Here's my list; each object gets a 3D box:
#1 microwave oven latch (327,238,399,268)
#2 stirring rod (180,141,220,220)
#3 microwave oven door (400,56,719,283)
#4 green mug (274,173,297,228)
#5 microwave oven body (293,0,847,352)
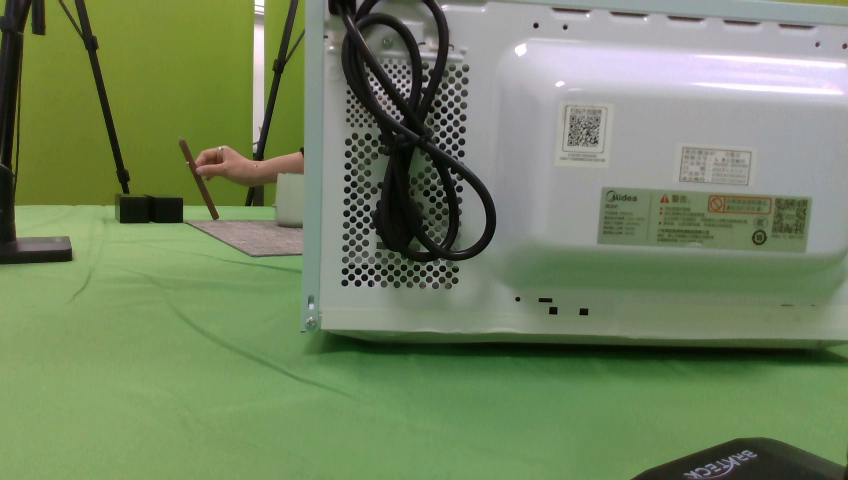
[{"bbox_3d":[-0.069,0.015,0.694,0.079,0.029,0.030,3,7,-3],"label":"microwave oven latch"},{"bbox_3d":[-0.467,-0.123,1.260,0.014,0.176,0.006,-30,20,-32],"label":"stirring rod"},{"bbox_3d":[0.155,-0.078,0.697,0.356,0.243,0.039,2,8,-5],"label":"microwave oven door"},{"bbox_3d":[-0.242,-0.081,1.221,0.092,0.105,0.126,8,9,39],"label":"green mug"},{"bbox_3d":[0.122,-0.055,0.550,0.442,0.260,0.325,3,7,-5],"label":"microwave oven body"}]
